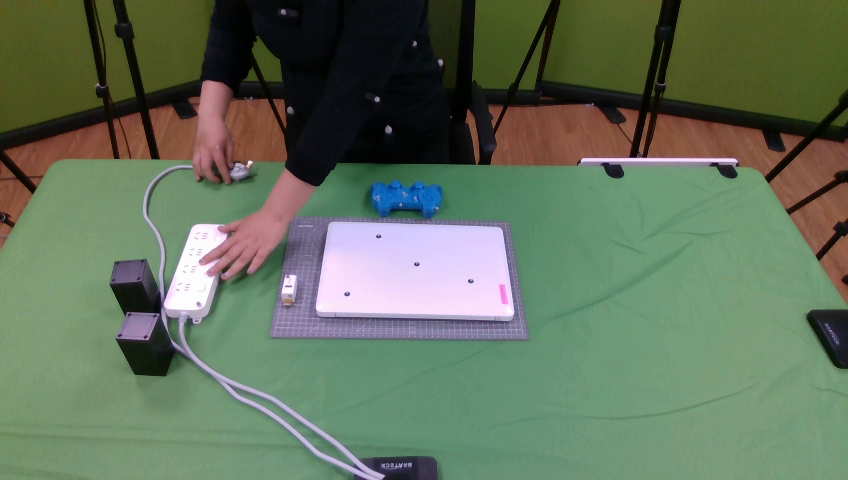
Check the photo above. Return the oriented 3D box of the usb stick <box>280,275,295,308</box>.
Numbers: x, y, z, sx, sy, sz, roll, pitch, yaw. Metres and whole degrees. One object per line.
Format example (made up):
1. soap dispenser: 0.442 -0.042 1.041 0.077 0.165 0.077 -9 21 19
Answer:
1. usb stick: -0.244 0.093 1.081 0.021 0.027 0.059 3 48 -5

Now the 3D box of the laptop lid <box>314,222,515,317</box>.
1. laptop lid: -0.016 0.049 1.134 0.357 0.013 0.240 3 43 -2

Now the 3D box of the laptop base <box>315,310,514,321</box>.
1. laptop base: -0.017 0.059 1.141 0.354 0.023 0.234 2 42 -3

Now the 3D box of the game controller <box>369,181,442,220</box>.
1. game controller: -0.039 -0.092 1.268 0.155 0.052 0.096 2 50 -2

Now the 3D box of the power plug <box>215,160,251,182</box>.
1. power plug: -0.409 -0.155 1.303 0.072 0.035 0.052 22 64 1

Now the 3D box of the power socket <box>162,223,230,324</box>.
1. power socket: -0.412 0.052 1.107 0.072 0.033 0.225 4 46 -4
